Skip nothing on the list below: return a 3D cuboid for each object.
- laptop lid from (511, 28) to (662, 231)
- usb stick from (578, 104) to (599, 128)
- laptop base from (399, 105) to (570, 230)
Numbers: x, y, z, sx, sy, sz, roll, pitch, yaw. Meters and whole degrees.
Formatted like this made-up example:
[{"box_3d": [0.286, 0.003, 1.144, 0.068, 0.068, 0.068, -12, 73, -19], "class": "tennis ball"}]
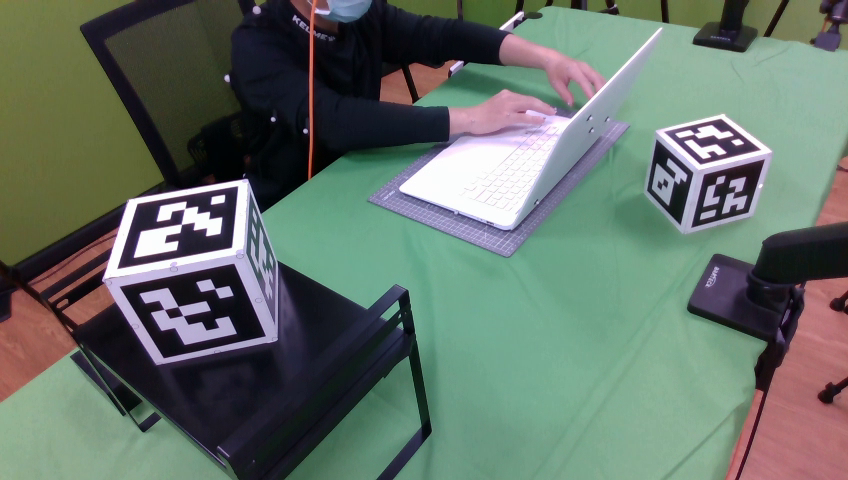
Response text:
[{"box_3d": [0.264, -0.179, 0.972, 0.013, 0.242, 0.357, 36, 53, 14], "class": "laptop lid"}, {"box_3d": [0.322, -0.242, 1.189, 0.021, 0.027, 0.059, 24, 53, 30], "class": "usb stick"}, {"box_3d": [0.149, -0.147, 1.124, 0.233, 0.023, 0.355, 20, 47, 32], "class": "laptop base"}]
